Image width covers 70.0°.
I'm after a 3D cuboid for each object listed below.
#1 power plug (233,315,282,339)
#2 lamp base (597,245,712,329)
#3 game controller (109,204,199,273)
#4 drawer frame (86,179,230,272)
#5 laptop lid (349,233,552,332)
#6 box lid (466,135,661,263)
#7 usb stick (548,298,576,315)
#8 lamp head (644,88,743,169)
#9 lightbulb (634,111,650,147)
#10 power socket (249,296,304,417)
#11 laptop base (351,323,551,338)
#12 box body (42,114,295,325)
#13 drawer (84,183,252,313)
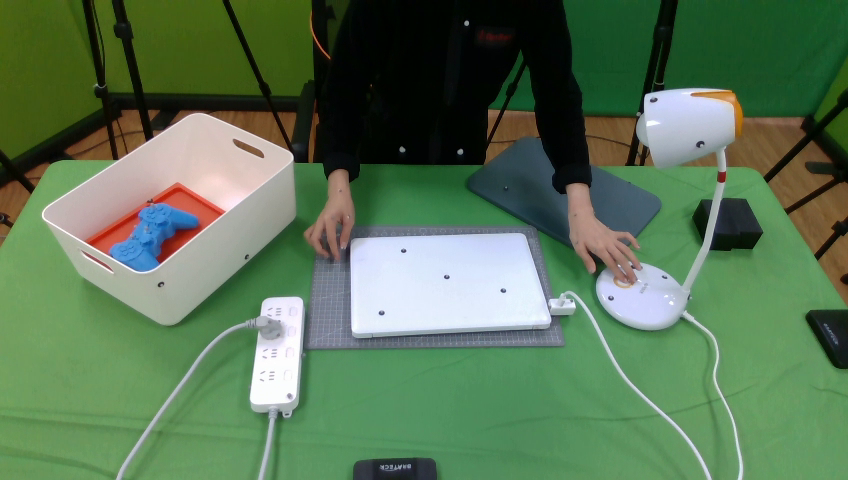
[{"bbox_3d":[-0.271,0.143,1.000,0.072,0.053,0.035,6,47,3],"label":"power plug"},{"bbox_3d":[0.418,0.051,1.072,0.179,0.181,0.160,22,49,13],"label":"lamp base"},{"bbox_3d":[-0.467,-0.005,1.044,0.097,0.052,0.154,8,45,10],"label":"game controller"},{"bbox_3d":[-0.453,0.010,1.100,0.201,0.083,0.213,28,55,23],"label":"drawer frame"},{"bbox_3d":[0.040,0.071,1.119,0.357,0.013,0.240,-1,44,-5],"label":"laptop lid"},{"bbox_3d":[0.306,-0.102,1.327,0.370,0.015,0.263,32,52,25],"label":"box lid"},{"bbox_3d":[0.240,0.120,1.086,0.059,0.027,0.021,-2,51,-2],"label":"usb stick"},{"bbox_3d":[0.380,-0.161,0.851,0.122,0.113,0.112,-4,42,25],"label":"lamp head"},{"bbox_3d":[0.348,-0.163,0.852,0.059,0.060,0.107,-36,19,-32],"label":"lightbulb"},{"bbox_3d":[-0.239,0.182,0.996,0.072,0.033,0.225,-2,47,-5],"label":"power socket"},{"bbox_3d":[0.040,0.081,1.125,0.355,0.023,0.234,-2,43,-6],"label":"laptop base"},{"bbox_3d":[-0.437,-0.046,1.110,0.253,0.161,0.363,24,49,19],"label":"box body"},{"bbox_3d":[-0.457,0.008,1.099,0.194,0.073,0.211,29,49,21],"label":"drawer"}]
